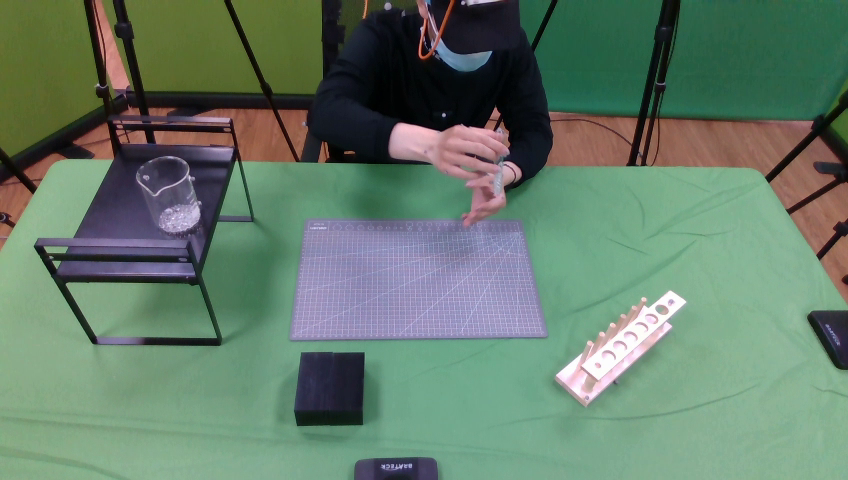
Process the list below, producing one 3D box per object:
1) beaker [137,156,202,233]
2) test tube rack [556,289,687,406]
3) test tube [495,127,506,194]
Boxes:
[{"bbox_3d":[-0.385,-0.065,0.925,0.074,0.101,0.083,2,47,-1],"label":"beaker"},{"bbox_3d":[0.332,0.166,1.014,0.242,0.085,0.066,-30,55,-28],"label":"test tube rack"},{"bbox_3d":[0.131,-0.133,1.042,0.017,0.151,0.017,-2,51,3],"label":"test tube"}]
